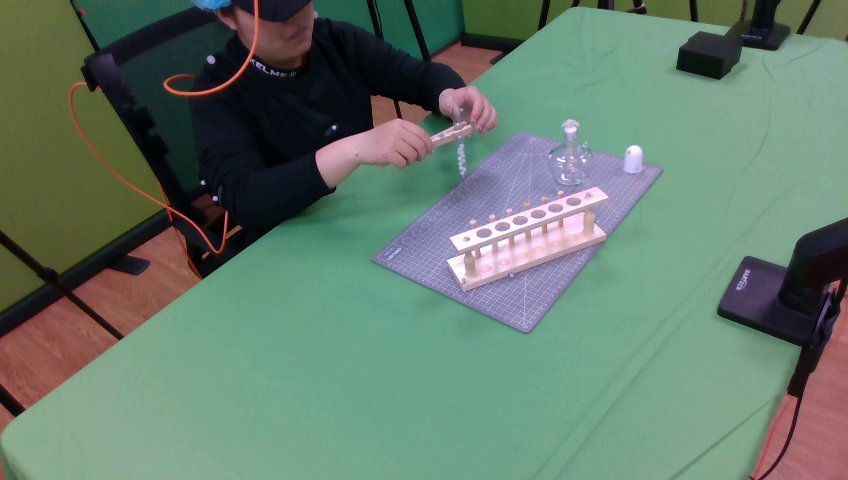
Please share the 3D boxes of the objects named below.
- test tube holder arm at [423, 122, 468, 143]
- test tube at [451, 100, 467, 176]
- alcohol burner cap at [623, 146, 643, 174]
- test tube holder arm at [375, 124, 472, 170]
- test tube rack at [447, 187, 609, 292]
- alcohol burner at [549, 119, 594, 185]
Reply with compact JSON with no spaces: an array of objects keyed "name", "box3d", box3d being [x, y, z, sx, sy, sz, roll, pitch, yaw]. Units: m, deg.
[{"name":"test tube holder arm","box3d":[0.037,-0.179,1.029,0.088,0.015,0.010,-29,41,-21]},{"name":"test tube","box3d":[0.061,-0.173,1.046,0.017,0.151,0.017,-5,42,5]},{"name":"alcohol burner cap","box3d":[0.369,-0.143,1.061,0.034,0.048,0.033,-6,41,6]},{"name":"test tube holder arm","box3d":[0.001,-0.157,1.012,0.179,0.015,0.013,-25,39,-16]},{"name":"test tube rack","box3d":[0.155,-0.011,0.913,0.243,0.085,0.066,-19,41,-11]},{"name":"alcohol burner","box3d":[0.254,-0.155,1.043,0.078,0.120,0.077,-7,40,6]}]
